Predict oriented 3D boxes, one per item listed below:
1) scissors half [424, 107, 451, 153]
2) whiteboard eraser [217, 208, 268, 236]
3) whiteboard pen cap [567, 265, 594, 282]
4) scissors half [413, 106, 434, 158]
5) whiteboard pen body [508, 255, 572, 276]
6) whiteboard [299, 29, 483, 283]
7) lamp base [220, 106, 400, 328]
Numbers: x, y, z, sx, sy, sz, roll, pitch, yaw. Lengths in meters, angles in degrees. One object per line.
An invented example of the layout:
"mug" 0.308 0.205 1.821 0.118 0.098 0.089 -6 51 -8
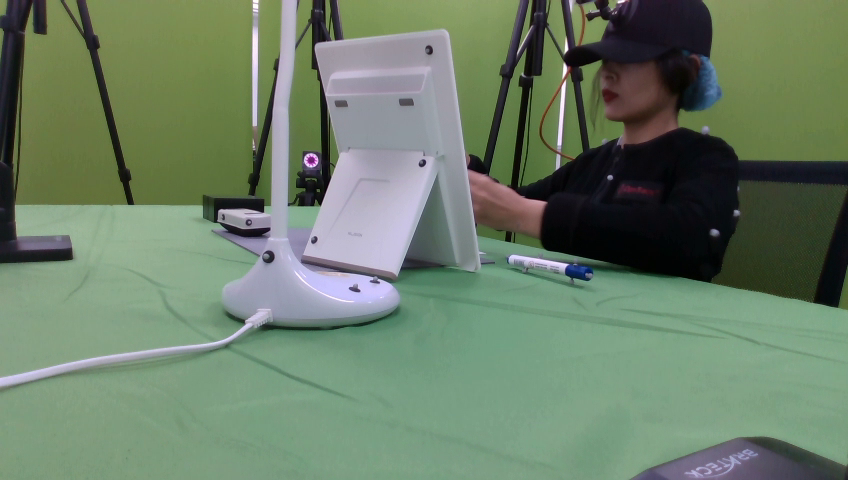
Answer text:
"scissors half" 0.022 -0.214 1.180 0.040 0.012 0.176 -18 -21 10
"whiteboard eraser" -0.309 -0.031 1.044 0.056 0.042 0.112 -2 9 -40
"whiteboard pen cap" 0.186 0.040 0.722 0.018 0.018 0.033 -3 6 -33
"scissors half" 0.002 -0.208 1.180 0.040 0.013 0.175 -15 -21 -13
"whiteboard pen body" 0.155 0.033 0.772 0.017 0.017 0.140 -2 6 -31
"whiteboard" -0.074 -0.082 0.742 0.216 0.305 0.144 9 29 38
"lamp base" -0.101 -0.023 0.531 0.160 0.180 0.179 4 10 10
